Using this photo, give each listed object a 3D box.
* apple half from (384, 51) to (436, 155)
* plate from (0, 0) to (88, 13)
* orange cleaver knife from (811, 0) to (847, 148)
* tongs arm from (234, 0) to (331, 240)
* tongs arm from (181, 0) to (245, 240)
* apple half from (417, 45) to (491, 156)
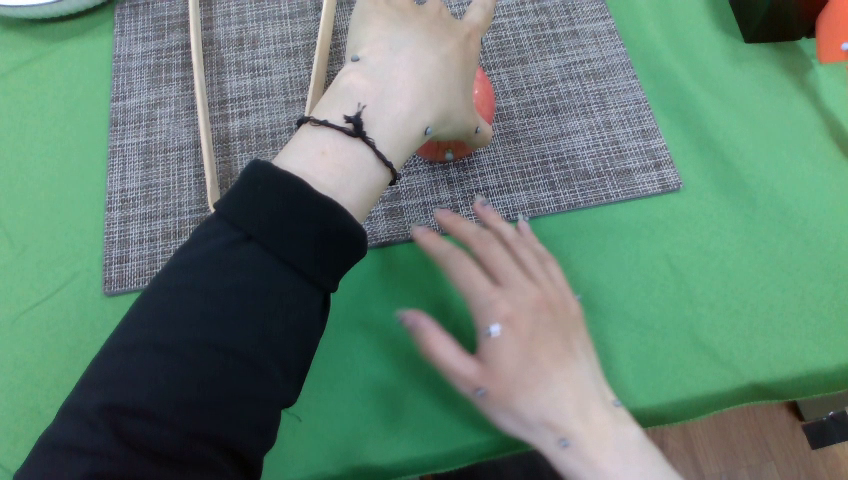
[{"bbox_3d":[-0.014,-0.099,0.465,0.033,0.082,0.080,-10,65,-6],"label":"apple half"},{"bbox_3d":[-0.358,-0.295,0.588,0.209,0.038,0.207,0,65,1],"label":"plate"},{"bbox_3d":[0.337,-0.176,0.487,0.012,0.077,0.212,-6,98,-1],"label":"orange cleaver knife"},{"bbox_3d":[-0.111,-0.179,0.529,0.051,0.027,0.381,0,66,1],"label":"tongs arm"},{"bbox_3d":[-0.195,-0.171,0.530,0.028,0.028,0.384,-11,66,-8],"label":"tongs arm"},{"bbox_3d":[0.024,-0.107,0.469,0.053,0.075,0.080,-9,62,-6],"label":"apple half"}]
